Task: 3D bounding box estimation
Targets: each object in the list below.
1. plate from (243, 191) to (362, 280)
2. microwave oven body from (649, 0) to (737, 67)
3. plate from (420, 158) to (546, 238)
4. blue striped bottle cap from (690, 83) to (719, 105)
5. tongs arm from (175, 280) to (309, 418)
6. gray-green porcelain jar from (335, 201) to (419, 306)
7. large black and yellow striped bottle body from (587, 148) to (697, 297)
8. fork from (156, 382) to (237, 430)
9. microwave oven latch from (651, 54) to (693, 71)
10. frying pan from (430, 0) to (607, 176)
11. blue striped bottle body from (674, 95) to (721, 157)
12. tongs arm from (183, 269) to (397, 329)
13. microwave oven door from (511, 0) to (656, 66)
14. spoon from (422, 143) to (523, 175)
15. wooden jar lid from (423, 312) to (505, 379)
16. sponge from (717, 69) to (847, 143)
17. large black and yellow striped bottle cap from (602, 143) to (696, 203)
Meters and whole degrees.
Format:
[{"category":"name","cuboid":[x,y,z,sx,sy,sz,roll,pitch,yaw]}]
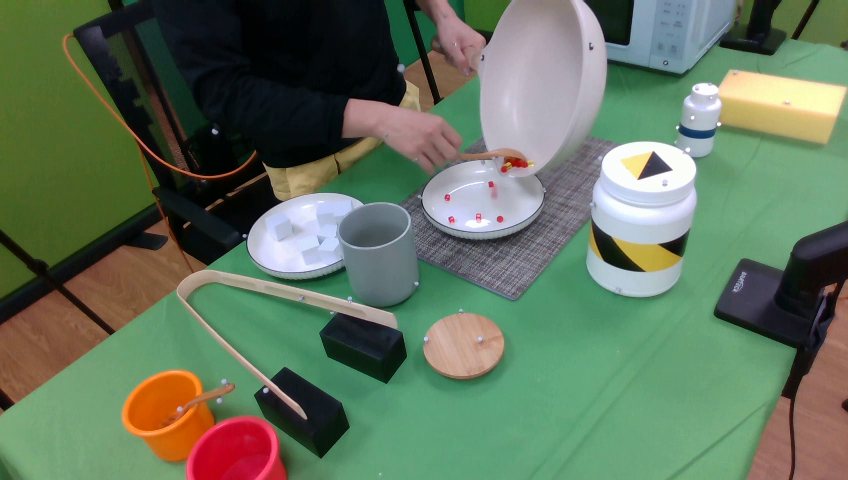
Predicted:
[{"category":"plate","cuboid":[-0.188,-0.005,0.992,0.207,0.039,0.206,-3,40,3]},{"category":"microwave oven body","cuboid":[0.475,-0.602,1.411,0.438,0.261,0.327,23,50,32]},{"category":"plate","cuboid":[0.099,-0.067,1.017,0.209,0.038,0.208,-4,40,4]},{"category":"blue striped bottle cap","cuboid":[0.481,-0.251,1.038,0.044,0.021,0.044,-4,40,4]},{"category":"tongs arm","cuboid":[-0.254,0.133,0.800,0.028,0.028,0.384,-41,40,-23]},{"category":"gray-green porcelain jar","cuboid":[-0.064,0.024,0.872,0.106,0.127,0.105,-4,41,4]},{"category":"large black and yellow striped bottle body","cuboid":[0.298,-0.026,0.834,0.131,0.185,0.130,-4,41,4]},{"category":"fork","cuboid":[-0.262,0.189,0.690,0.018,0.206,0.028,49,43,-6]},{"category":"microwave oven latch","cuboid":[0.532,-0.386,1.301,0.078,0.029,0.030,26,52,34]},{"category":"frying pan","cuboid":[0.133,-0.293,1.022,0.103,0.307,0.483,-4,30,-32]},{"category":"blue striped bottle body","cuboid":[0.486,-0.213,1.072,0.063,0.121,0.063,-4,41,4]},{"category":"tongs arm","cuboid":[-0.203,0.085,0.847,0.382,0.027,0.051,11,44,35]},{"category":"microwave oven door","cuboid":[0.351,-0.539,1.349,0.353,0.245,0.039,24,50,31]},{"category":"spoon","cuboid":[0.083,-0.136,0.968,0.195,0.021,0.041,8,69,-32]},{"category":"wooden jar lid","cuboid":[0.053,0.142,0.800,0.108,0.021,0.108,-5,39,4]},{"category":"sponge","cuboid":[0.663,-0.256,1.142,0.205,0.061,0.118,19,47,28]},{"category":"large black and yellow striped bottle cap","cuboid":[0.289,-0.088,0.778,0.115,0.019,0.114,-5,39,4]}]
